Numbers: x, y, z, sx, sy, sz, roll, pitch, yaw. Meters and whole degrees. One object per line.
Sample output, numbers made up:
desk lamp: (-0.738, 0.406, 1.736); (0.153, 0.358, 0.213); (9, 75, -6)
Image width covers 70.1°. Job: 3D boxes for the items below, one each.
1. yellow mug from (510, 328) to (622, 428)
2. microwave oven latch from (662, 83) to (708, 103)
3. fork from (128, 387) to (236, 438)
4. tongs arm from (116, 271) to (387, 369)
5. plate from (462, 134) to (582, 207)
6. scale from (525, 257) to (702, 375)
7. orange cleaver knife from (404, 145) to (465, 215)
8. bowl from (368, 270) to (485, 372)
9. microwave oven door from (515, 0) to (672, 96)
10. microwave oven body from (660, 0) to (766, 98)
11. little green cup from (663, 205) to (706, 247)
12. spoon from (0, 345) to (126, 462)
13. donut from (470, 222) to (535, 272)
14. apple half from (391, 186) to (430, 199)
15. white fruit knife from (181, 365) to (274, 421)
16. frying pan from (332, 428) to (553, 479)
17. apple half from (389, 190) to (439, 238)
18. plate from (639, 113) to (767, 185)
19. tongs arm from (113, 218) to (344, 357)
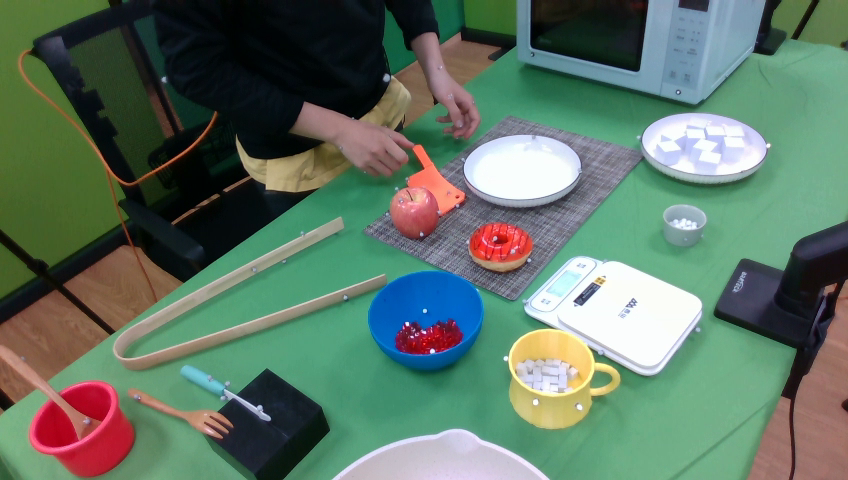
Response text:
yellow mug: (0.168, 0.164, 0.722); (0.130, 0.064, 0.099); (0, 40, 8)
microwave oven latch: (0.518, -0.296, 1.204); (0.078, 0.029, 0.030); (28, 52, 35)
fork: (-0.305, 0.207, 0.744); (0.206, 0.019, 0.028); (3, 42, 36)
tongs arm: (-0.237, 0.112, 0.868); (0.389, 0.028, 0.028); (-18, 47, -12)
plate: (0.173, -0.119, 1.070); (0.209, 0.038, 0.208); (-4, 40, 4)
scale: (0.254, 0.091, 0.821); (0.199, 0.032, 0.149); (28, 51, 35)
orange cleaver knife: (0.004, -0.112, 1.103); (0.077, 0.012, 0.209); (-22, 44, -11)
bowl: (0.007, 0.118, 0.791); (0.151, 0.077, 0.150); (-4, 40, 4)
microwave oven door: (0.343, -0.454, 1.259); (0.353, 0.245, 0.039); (26, 51, 33)
microwave oven body: (0.472, -0.513, 1.317); (0.438, 0.261, 0.327); (26, 51, 34)
little green cup: (0.396, -0.021, 0.926); (0.061, 0.039, 0.061); (-4, 40, 4)
spoon: (-0.434, 0.192, 0.720); (0.194, 0.021, 0.042); (47, 53, -7)
donut: (0.119, 0.009, 0.923); (0.099, 0.048, 0.098); (-4, 38, 3)
apple half: (-0.019, -0.061, 1.002); (0.081, 0.081, 0.032); (-9, 44, -1)
white fruit knife: (-0.245, 0.187, 0.747); (0.205, 0.027, 0.016); (9, 41, 40)
frying pan: (-0.089, 0.306, 0.564); (0.487, 0.103, 0.306); (10, 41, 7)
apple half: (-0.014, -0.035, 0.973); (0.081, 0.075, 0.053); (-6, 44, -4)
plate: (0.489, -0.157, 1.074); (0.207, 0.039, 0.206); (-4, 40, 4)
tongs arm: (-0.280, 0.067, 0.926); (0.386, 0.026, 0.050); (-28, 47, -23)
